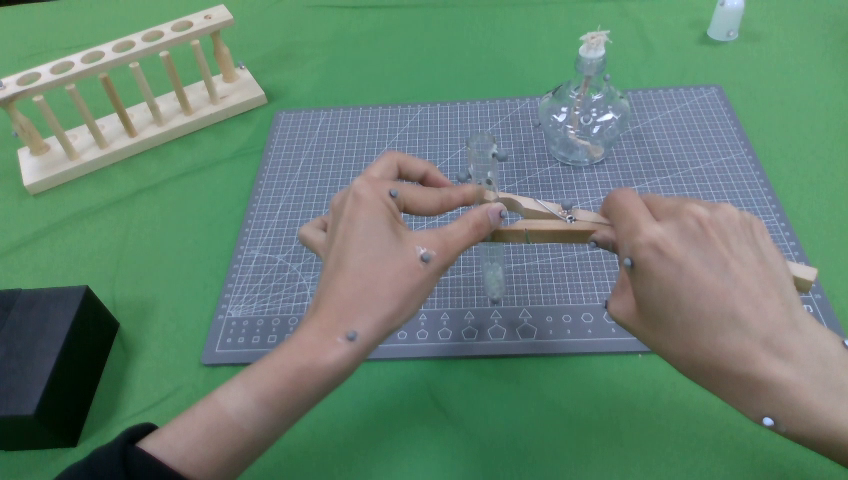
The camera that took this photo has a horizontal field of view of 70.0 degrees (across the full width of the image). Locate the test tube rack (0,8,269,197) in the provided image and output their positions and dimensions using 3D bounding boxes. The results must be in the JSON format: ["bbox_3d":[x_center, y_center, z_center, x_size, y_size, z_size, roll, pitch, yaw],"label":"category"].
[{"bbox_3d":[-0.289,-0.140,0.601,0.242,0.086,0.066,-26,51,-16],"label":"test tube rack"}]

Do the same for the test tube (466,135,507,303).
[{"bbox_3d":[0.040,-0.005,0.367,0.017,0.152,0.017,-5,53,7],"label":"test tube"}]

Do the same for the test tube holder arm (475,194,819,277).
[{"bbox_3d":[0.111,-0.005,0.329,0.177,0.015,0.013,11,66,24],"label":"test tube holder arm"}]

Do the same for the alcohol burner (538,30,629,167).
[{"bbox_3d":[0.137,-0.122,0.515,0.078,0.120,0.077,-3,47,3],"label":"alcohol burner"}]

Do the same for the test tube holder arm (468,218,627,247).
[{"bbox_3d":[0.069,-0.004,0.343,0.087,0.015,0.010,-2,60,18],"label":"test tube holder arm"}]

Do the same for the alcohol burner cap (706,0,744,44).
[{"bbox_3d":[0.325,-0.238,0.648,0.034,0.048,0.033,-4,49,5],"label":"alcohol burner cap"}]
